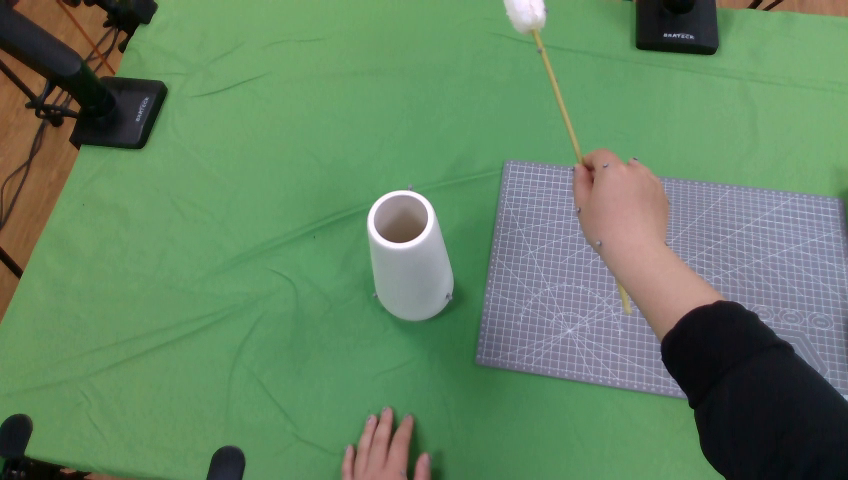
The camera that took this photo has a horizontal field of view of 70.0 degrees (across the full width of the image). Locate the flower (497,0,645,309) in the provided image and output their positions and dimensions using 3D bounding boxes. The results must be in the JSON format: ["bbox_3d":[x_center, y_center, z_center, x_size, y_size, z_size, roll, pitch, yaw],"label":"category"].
[{"bbox_3d":[0.144,-0.103,0.594,0.038,0.044,0.360,-26,78,32],"label":"flower"}]

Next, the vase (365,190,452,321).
[{"bbox_3d":[-0.017,0.022,0.693,0.098,0.201,0.097,-1,64,2],"label":"vase"}]
